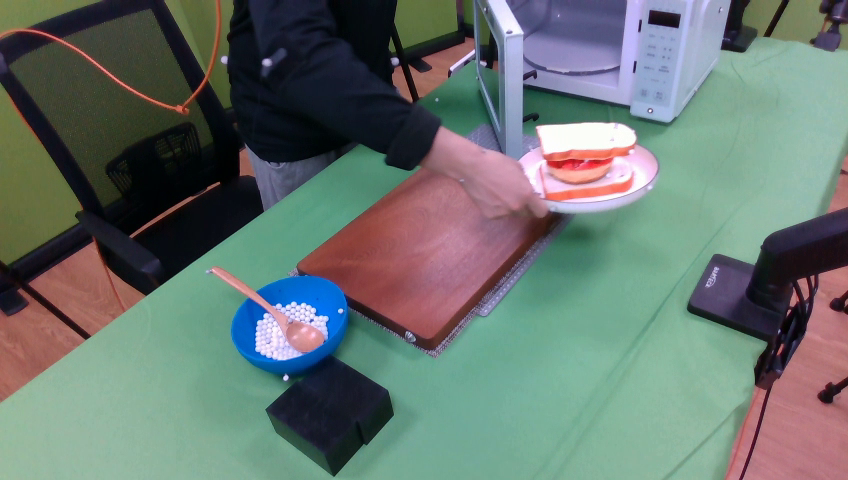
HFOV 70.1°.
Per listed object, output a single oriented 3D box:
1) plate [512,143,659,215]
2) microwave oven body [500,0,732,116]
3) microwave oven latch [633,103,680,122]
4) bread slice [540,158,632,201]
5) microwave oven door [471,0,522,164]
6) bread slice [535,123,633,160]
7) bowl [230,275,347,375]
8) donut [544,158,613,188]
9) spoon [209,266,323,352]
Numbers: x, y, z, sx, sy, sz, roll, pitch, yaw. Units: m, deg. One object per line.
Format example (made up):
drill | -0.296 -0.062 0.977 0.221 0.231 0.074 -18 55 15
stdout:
plate | 0.236 -0.092 0.892 0.207 0.039 0.206 -7 33 5
microwave oven body | 0.377 -0.462 1.267 0.438 0.261 0.327 21 49 30
microwave oven latch | 0.443 -0.249 1.157 0.078 0.029 0.030 21 49 30
bread slice | 0.239 -0.093 0.898 0.131 0.019 0.104 -7 35 9
microwave oven door | 0.136 -0.342 1.153 0.039 0.245 0.353 -8 40 -1
bread slice | 0.227 -0.142 0.862 0.134 0.018 0.106 -1 32 2
bowl | -0.171 0.125 0.802 0.151 0.077 0.150 -4 40 4
donut | 0.223 -0.115 0.878 0.099 0.048 0.098 -13 41 12
spoon | -0.214 0.087 0.806 0.193 0.021 0.042 36 54 12
